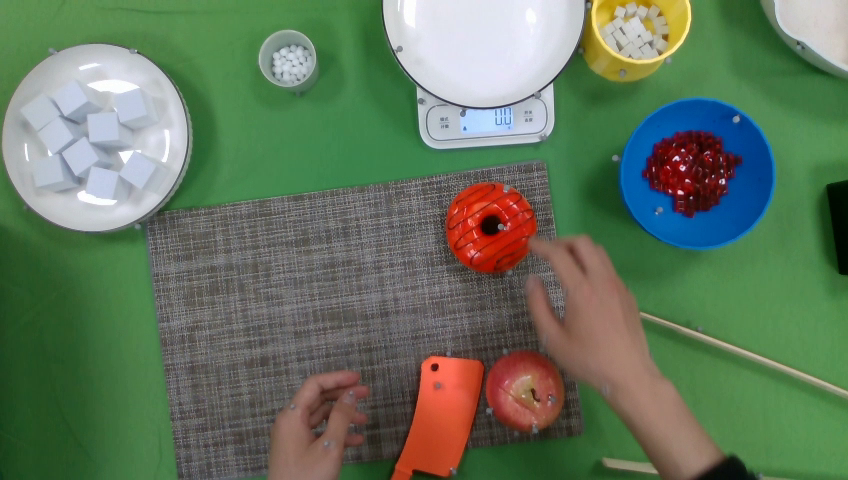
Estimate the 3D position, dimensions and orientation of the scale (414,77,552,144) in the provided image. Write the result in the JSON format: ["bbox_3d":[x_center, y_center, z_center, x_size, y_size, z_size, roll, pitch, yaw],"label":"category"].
[{"bbox_3d":[0.061,-0.210,0.659,0.148,0.031,0.200,-3,89,2],"label":"scale"}]

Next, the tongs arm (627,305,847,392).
[{"bbox_3d":[0.400,0.148,0.648,0.387,0.028,0.028,22,81,2],"label":"tongs arm"}]

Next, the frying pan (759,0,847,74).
[{"bbox_3d":[0.535,-0.219,0.610,0.307,0.103,0.486,-34,81,2],"label":"frying pan"}]

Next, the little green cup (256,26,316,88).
[{"bbox_3d":[-0.147,-0.197,0.661,0.061,0.038,0.061,0,89,2],"label":"little green cup"}]

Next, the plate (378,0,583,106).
[{"bbox_3d":[0.057,-0.241,0.627,0.209,0.038,0.209,0,89,1],"label":"plate"}]

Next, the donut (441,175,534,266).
[{"bbox_3d":[0.067,-0.020,0.646,0.099,0.048,0.099,0,89,3],"label":"donut"}]

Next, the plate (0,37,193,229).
[{"bbox_3d":[-0.353,-0.115,0.666,0.207,0.039,0.207,0,89,2],"label":"plate"}]

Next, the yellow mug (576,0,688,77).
[{"bbox_3d":[0.206,-0.242,0.638,0.100,0.064,0.130,-40,87,2],"label":"yellow mug"}]

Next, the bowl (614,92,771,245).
[{"bbox_3d":[0.264,-0.069,0.629,0.151,0.077,0.151,0,90,2],"label":"bowl"}]

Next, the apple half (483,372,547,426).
[{"bbox_3d":[0.087,0.170,0.627,0.081,0.081,0.033,36,86,2],"label":"apple half"}]

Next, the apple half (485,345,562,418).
[{"bbox_3d":[0.109,0.138,0.629,0.080,0.075,0.053,34,86,6],"label":"apple half"}]

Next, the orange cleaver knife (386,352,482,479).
[{"bbox_3d":[0.002,0.218,0.657,0.077,0.012,0.211,21,88,-5],"label":"orange cleaver knife"}]

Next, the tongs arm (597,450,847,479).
[{"bbox_3d":[0.381,0.232,0.643,0.385,0.026,0.050,8,84,1],"label":"tongs arm"}]
